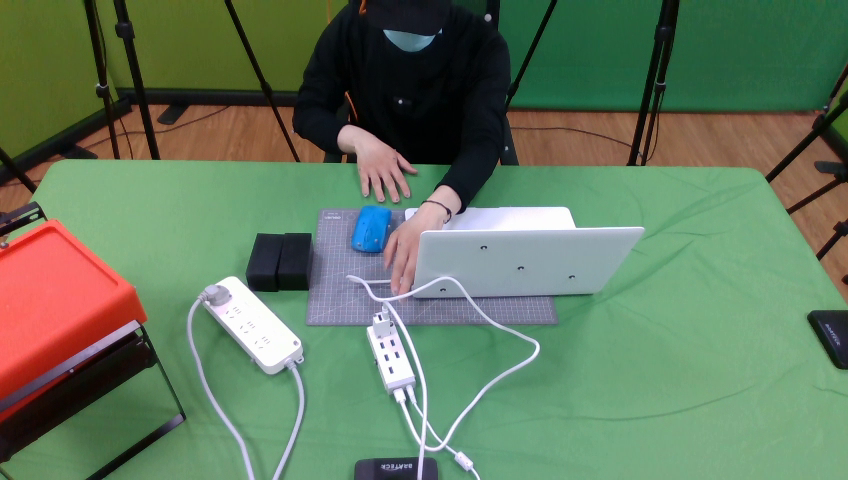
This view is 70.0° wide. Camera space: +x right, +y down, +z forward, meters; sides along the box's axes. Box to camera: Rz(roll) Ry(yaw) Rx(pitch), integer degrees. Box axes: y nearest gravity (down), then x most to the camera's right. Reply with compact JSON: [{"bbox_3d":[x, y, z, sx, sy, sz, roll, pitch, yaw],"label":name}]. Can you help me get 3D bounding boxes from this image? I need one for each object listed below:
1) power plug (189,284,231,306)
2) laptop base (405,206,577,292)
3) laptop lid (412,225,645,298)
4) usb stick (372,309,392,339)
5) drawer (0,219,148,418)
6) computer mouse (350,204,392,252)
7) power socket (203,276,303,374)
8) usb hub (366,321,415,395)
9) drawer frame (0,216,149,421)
[{"bbox_3d":[-0.368,0.100,1.037,0.072,0.053,0.035,-24,54,-26],"label":"power plug"},{"bbox_3d":[0.143,0.018,1.196,0.355,0.023,0.234,-1,43,-6],"label":"laptop base"},{"bbox_3d":[0.161,0.042,1.012,0.357,0.242,0.013,0,59,-7],"label":"laptop lid"},{"bbox_3d":[-0.070,0.145,1.008,0.027,0.059,0.021,-15,40,-25],"label":"usb stick"},{"bbox_3d":[-0.509,0.093,0.783,0.193,0.073,0.211,32,53,24],"label":"drawer"},{"bbox_3d":[-0.104,-0.027,1.202,0.063,0.041,0.116,11,51,3],"label":"computer mouse"},{"bbox_3d":[-0.296,0.141,1.034,0.072,0.033,0.225,-35,58,-30],"label":"power socket"},{"bbox_3d":[-0.056,0.194,1.007,0.049,0.025,0.124,-13,49,-15],"label":"usb hub"},{"bbox_3d":[-0.510,0.093,0.780,0.201,0.083,0.213,31,52,23],"label":"drawer frame"}]
